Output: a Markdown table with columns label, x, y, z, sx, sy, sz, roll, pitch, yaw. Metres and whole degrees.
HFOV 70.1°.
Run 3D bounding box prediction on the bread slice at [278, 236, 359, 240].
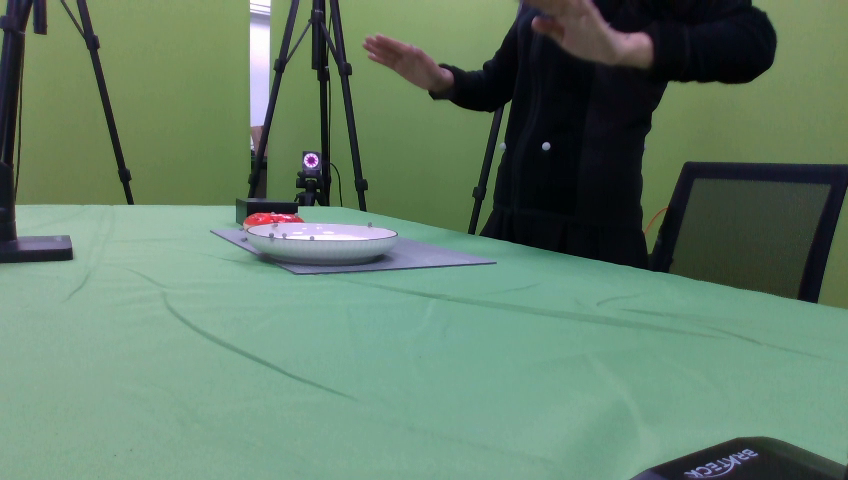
| label | x | y | z | sx | sy | sz | roll | pitch | yaw |
| --- | --- | --- | --- | --- | --- | --- | --- | --- | --- |
| bread slice | -0.140 | 0.007 | 0.839 | 0.132 | 0.019 | 0.104 | -2 | 7 | -35 |

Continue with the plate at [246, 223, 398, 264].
| label | x | y | z | sx | sy | sz | roll | pitch | yaw |
| --- | --- | --- | --- | --- | --- | --- | --- | --- | --- |
| plate | -0.140 | 0.004 | 0.847 | 0.209 | 0.038 | 0.209 | 2 | 7 | 0 |

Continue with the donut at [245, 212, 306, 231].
| label | x | y | z | sx | sy | sz | roll | pitch | yaw |
| --- | --- | --- | --- | --- | --- | --- | --- | --- | --- |
| donut | -0.244 | -0.023 | 0.997 | 0.099 | 0.048 | 0.099 | 2 | 5 | 0 |
